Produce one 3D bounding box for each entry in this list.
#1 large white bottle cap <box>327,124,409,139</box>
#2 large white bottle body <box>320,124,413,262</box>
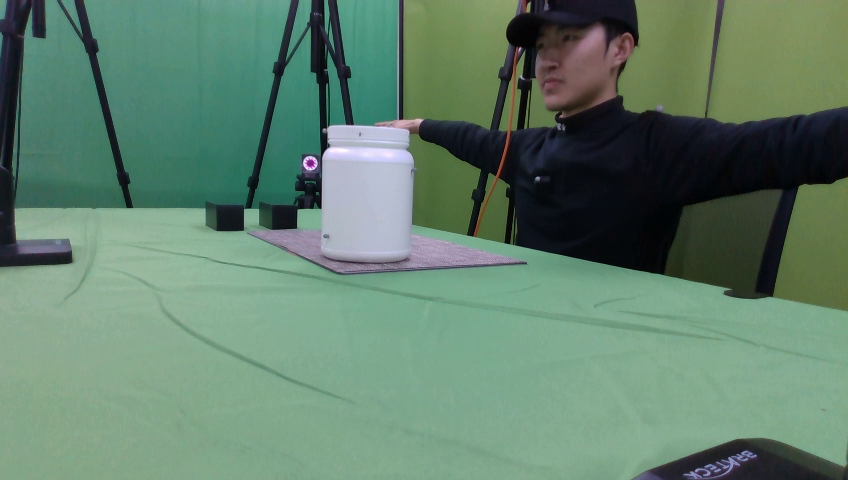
[{"bbox_3d":[-0.078,-0.151,0.852,0.115,0.018,0.115,1,8,0],"label":"large white bottle cap"},{"bbox_3d":[-0.081,-0.069,0.864,0.131,0.184,0.130,2,7,0],"label":"large white bottle body"}]
